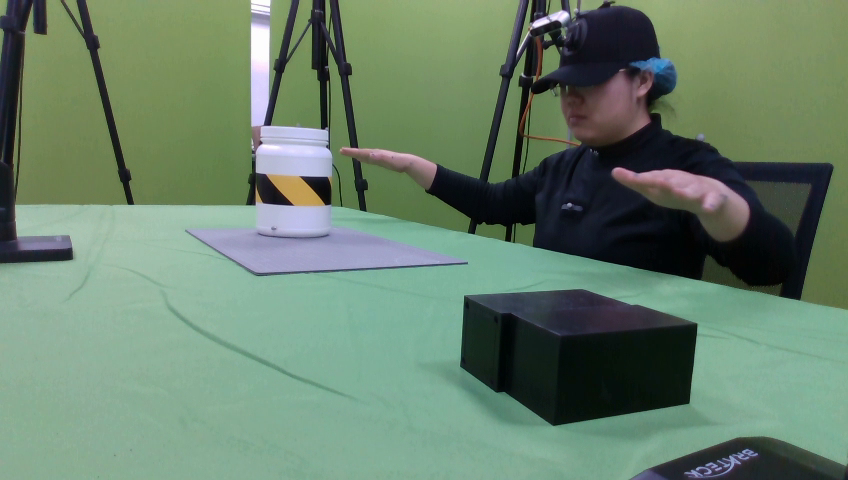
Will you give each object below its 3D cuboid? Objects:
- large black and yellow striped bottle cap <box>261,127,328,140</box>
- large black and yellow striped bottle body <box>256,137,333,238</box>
[{"bbox_3d":[-0.224,-0.184,1.051,0.115,0.019,0.115,2,7,0],"label":"large black and yellow striped bottle cap"},{"bbox_3d":[-0.228,-0.102,1.063,0.131,0.184,0.130,3,8,0],"label":"large black and yellow striped bottle body"}]
